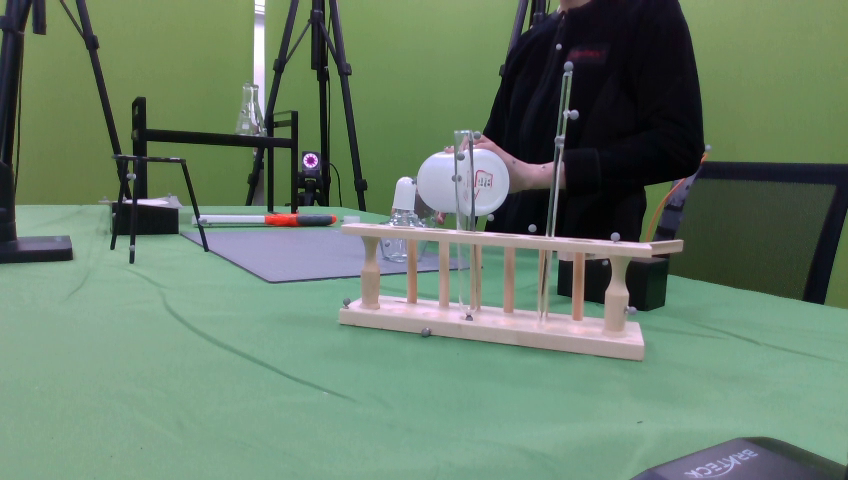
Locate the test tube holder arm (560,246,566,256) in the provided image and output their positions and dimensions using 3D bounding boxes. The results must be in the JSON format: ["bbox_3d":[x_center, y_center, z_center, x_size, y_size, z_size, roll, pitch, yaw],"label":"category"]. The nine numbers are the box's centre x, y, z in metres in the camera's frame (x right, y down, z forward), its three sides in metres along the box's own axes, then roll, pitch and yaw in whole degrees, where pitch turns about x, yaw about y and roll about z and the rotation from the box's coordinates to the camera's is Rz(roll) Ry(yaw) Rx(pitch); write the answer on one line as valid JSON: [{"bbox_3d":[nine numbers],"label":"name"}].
[{"bbox_3d":[0.173,0.007,0.612,0.088,0.015,0.010,-3,9,-30],"label":"test tube holder arm"}]

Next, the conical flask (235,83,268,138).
[{"bbox_3d":[-0.402,-0.299,1.406,0.075,0.122,0.075,2,7,0],"label":"conical flask"}]

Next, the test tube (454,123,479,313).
[{"bbox_3d":[0.034,-0.016,0.477,0.017,0.150,0.017,-2,9,1],"label":"test tube"}]

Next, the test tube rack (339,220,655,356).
[{"bbox_3d":[0.056,0.032,0.495,0.242,0.085,0.067,4,7,15],"label":"test tube rack"}]

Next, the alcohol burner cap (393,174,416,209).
[{"bbox_3d":[-0.025,-0.067,0.834,0.034,0.048,0.034,8,7,-1],"label":"alcohol burner cap"}]

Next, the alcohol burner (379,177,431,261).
[{"bbox_3d":[-0.027,-0.031,0.838,0.078,0.119,0.078,0,6,0],"label":"alcohol burner"}]

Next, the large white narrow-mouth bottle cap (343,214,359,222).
[{"bbox_3d":[-0.155,-0.043,1.282,0.038,0.024,0.037,2,8,0],"label":"large white narrow-mouth bottle cap"}]

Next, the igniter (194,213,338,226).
[{"bbox_3d":[-0.306,-0.041,1.197,0.278,0.025,0.057,-2,-2,-30],"label":"igniter"}]

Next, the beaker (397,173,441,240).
[{"bbox_3d":[-0.004,-0.055,1.062,0.074,0.100,0.083,-5,36,-30],"label":"beaker"}]

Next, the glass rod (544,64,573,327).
[{"bbox_3d":[0.101,-0.028,0.453,0.008,0.199,0.008,1,14,0],"label":"glass rod"}]

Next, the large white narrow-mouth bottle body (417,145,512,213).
[{"bbox_3d":[0.047,-0.096,0.947,0.102,0.101,0.194,-2,6,-25],"label":"large white narrow-mouth bottle body"}]

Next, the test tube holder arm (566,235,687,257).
[{"bbox_3d":[0.215,0.006,0.630,0.179,0.015,0.013,-3,9,-31],"label":"test tube holder arm"}]

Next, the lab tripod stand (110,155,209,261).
[{"bbox_3d":[-0.361,-0.046,0.806,0.148,0.131,0.148,2,5,0],"label":"lab tripod stand"}]

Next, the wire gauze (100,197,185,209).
[{"bbox_3d":[-0.469,-0.062,1.008,0.126,0.011,0.121,-2,8,-25],"label":"wire gauze"}]
